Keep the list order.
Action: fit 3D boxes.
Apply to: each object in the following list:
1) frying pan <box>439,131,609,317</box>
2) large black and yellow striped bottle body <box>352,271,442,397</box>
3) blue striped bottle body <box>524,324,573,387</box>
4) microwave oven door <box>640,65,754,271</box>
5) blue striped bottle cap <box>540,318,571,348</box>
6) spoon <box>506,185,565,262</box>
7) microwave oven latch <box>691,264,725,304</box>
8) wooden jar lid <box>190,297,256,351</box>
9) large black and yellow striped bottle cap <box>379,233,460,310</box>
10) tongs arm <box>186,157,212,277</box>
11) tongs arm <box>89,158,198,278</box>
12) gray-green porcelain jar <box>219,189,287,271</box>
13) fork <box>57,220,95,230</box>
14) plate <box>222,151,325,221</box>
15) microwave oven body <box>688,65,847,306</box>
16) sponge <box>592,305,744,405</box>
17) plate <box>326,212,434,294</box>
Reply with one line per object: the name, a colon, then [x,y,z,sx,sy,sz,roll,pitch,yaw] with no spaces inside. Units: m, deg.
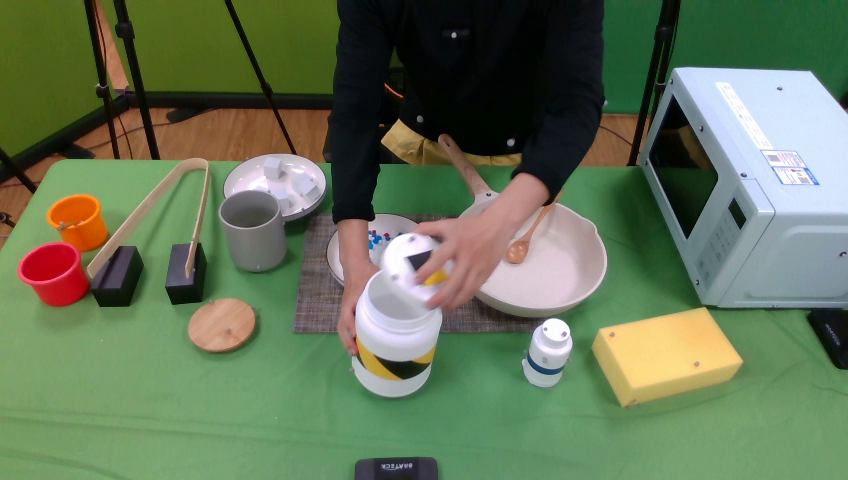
frying pan: [0.149,-0.049,1.189,0.307,0.103,0.484,-17,58,-20]
large black and yellow striped bottle body: [-0.043,0.141,0.930,0.131,0.185,0.130,5,45,-5]
blue striped bottle body: [0.200,0.178,0.970,0.063,0.121,0.062,2,46,-1]
microwave oven door: [0.524,-0.148,1.193,0.039,0.245,0.353,0,47,-3]
blue striped bottle cap: [0.203,0.142,0.933,0.044,0.021,0.044,3,48,-3]
spoon: [0.224,-0.034,1.188,0.041,0.022,0.193,30,79,29]
microwave oven latch: [0.521,0.081,1.116,0.030,0.029,0.078,0,46,-3]
wooden jar lid: [-0.342,0.145,1.033,0.108,0.021,0.107,2,45,-2]
large black and yellow striped bottle cap: [-0.004,0.040,0.810,0.115,0.019,0.114,18,46,-20]
tongs arm: [-0.445,-0.058,1.168,0.051,0.026,0.382,-5,37,-6]
tongs arm: [-0.529,-0.057,1.164,0.028,0.028,0.385,1,36,8]
gray-green porcelain jar: [-0.309,-0.014,1.113,0.106,0.127,0.105,2,46,-2]
fork: [-0.624,-0.027,1.086,0.028,0.207,0.018,-3,92,-17]
plate: [-0.310,-0.106,1.262,0.208,0.039,0.206,2,47,-2]
microwave oven body: [0.669,-0.111,1.176,0.326,0.261,0.439,0,46,-3]
sponge: [0.405,0.189,1.015,0.207,0.061,0.117,-10,48,-12]
plate: [-0.080,0.030,1.143,0.209,0.038,0.208,2,46,-2]
